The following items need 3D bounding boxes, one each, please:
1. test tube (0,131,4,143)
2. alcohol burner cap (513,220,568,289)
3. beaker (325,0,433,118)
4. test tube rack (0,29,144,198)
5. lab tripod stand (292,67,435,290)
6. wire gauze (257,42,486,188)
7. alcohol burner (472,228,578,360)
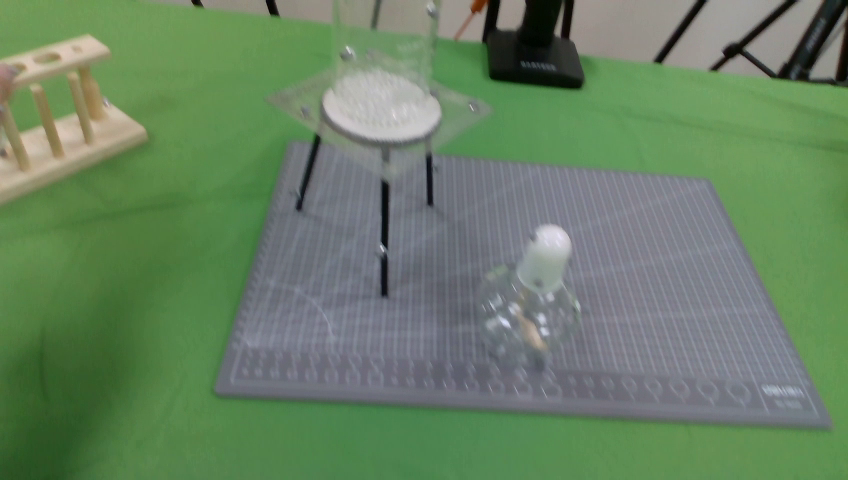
[{"bbox_3d":[-0.366,-0.142,0.484,0.017,0.151,0.017,6,40,-5],"label":"test tube"},{"bbox_3d":[0.080,0.008,0.407,0.034,0.048,0.033,3,50,-3],"label":"alcohol burner cap"},{"bbox_3d":[-0.033,-0.140,0.409,0.084,0.101,0.073,-31,59,-31],"label":"beaker"},{"bbox_3d":[-0.369,-0.088,0.501,0.066,0.086,0.242,33,49,22],"label":"test tube rack"},{"bbox_3d":[-0.041,-0.056,0.487,0.149,0.132,0.147,6,46,-6],"label":"lab tripod stand"},{"bbox_3d":[-0.036,-0.101,0.441,0.124,0.011,0.121,36,53,19],"label":"wire gauze"},{"bbox_3d":[0.076,0.032,0.434,0.078,0.120,0.077,6,45,-6],"label":"alcohol burner"}]
